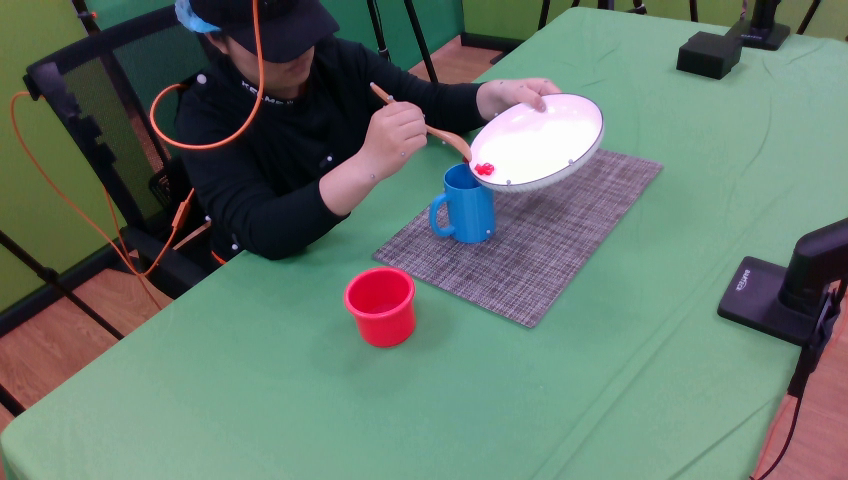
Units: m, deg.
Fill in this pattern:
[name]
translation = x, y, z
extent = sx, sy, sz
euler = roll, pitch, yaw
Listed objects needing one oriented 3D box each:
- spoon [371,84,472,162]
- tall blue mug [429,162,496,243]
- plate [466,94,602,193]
[spoon]
translation = 0.001, -0.168, 0.879
extent = 0.195, 0.021, 0.041
euler = 26, 34, -28
[tall blue mug]
translation = 0.067, -0.051, 0.960
extent = 0.077, 0.108, 0.107
euler = 17, 47, 27
[plate]
translation = 0.166, -0.141, 0.911
extent = 0.207, 0.039, 0.206
euler = -18, 41, 16
